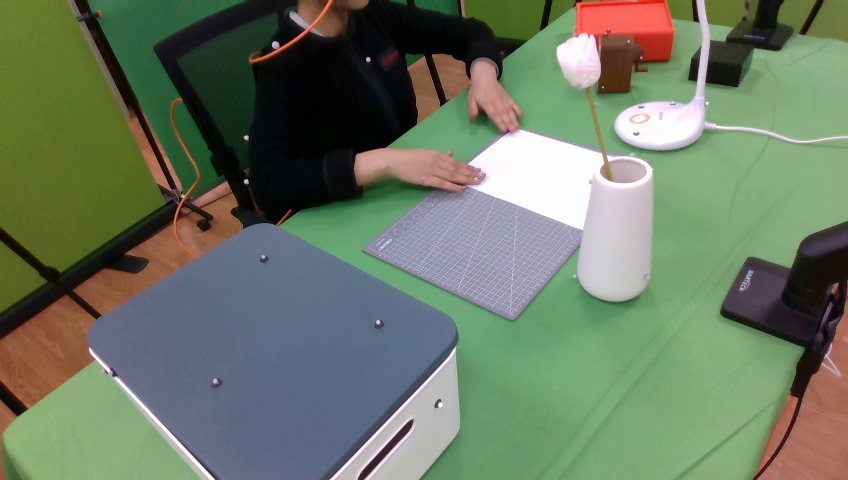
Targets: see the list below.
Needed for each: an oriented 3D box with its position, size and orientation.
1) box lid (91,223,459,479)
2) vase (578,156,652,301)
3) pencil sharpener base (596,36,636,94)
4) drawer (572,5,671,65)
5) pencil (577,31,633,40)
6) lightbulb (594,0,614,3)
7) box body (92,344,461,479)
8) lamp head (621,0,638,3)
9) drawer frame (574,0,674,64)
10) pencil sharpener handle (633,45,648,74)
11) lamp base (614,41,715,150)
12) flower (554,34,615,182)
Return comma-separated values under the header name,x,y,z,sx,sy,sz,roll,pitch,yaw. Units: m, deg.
name,x,y,z,sx,sy,sz,roll,pitch,yaw
box lid,-0.174,0.103,0.666,0.368,0.015,0.264,24,49,35
vase,0.261,-0.011,0.812,0.098,0.201,0.097,-4,40,4
pencil sharpener base,0.405,-0.369,1.280,0.076,0.107,0.061,2,41,13
drawer,0.461,-0.490,1.435,0.211,0.073,0.194,2,40,12
pencil,0.430,-0.487,1.443,0.012,0.012,0.192,-25,30,-18
lightbulb,0.305,-0.437,0.976,0.060,0.107,0.059,12,45,-11
box body,-0.162,0.170,0.708,0.361,0.161,0.255,25,50,34
lamp head,0.319,-0.453,0.962,0.113,0.123,0.112,20,33,-13
drawer frame,0.464,-0.492,1.434,0.213,0.083,0.201,1,40,12
pencil sharpener handle,0.454,-0.378,1.262,0.030,0.068,0.036,2,47,13
lamp base,0.449,-0.277,1.106,0.179,0.181,0.160,1,41,9
flower,0.237,-0.083,0.774,0.044,0.363,0.038,-22,26,6
